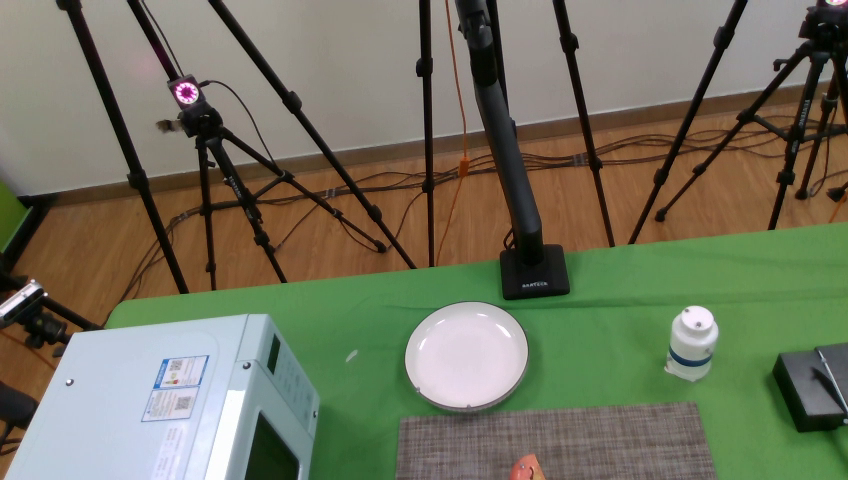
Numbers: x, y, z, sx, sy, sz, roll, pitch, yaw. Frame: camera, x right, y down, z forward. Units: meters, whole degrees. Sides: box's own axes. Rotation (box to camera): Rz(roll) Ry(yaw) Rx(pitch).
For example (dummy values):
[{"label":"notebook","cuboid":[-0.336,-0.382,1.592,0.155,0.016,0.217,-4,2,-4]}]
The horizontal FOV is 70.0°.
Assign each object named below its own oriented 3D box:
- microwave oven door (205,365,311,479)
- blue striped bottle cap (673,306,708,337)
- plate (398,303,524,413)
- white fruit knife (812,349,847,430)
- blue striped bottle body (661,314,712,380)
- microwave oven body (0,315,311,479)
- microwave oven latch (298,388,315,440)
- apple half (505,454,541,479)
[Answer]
[{"label":"microwave oven door","cuboid":[-0.215,0.367,0.747,0.039,0.246,0.352,-8,46,8]},{"label":"blue striped bottle cap","cuboid":[0.383,0.117,0.869,0.044,0.021,0.044,-7,48,8]},{"label":"plate","cuboid":[0.062,0.198,1.007,0.207,0.039,0.205,-7,46,8]},{"label":"white fruit knife","cuboid":[0.561,0.241,0.799,0.016,0.028,0.205,-22,60,18]},{"label":"blue striped bottle body","cuboid":[0.392,0.152,0.904,0.063,0.122,0.062,-7,46,8]},{"label":"microwave oven body","cuboid":[-0.358,0.359,0.798,0.326,0.263,0.437,-7,47,7]},{"label":"microwave oven latch","cuboid":[-0.192,0.279,0.969,0.030,0.030,0.078,-7,47,7]},{"label":"apple half","cuboid":[0.137,0.340,0.821,0.053,0.075,0.080,-23,50,-2]}]
